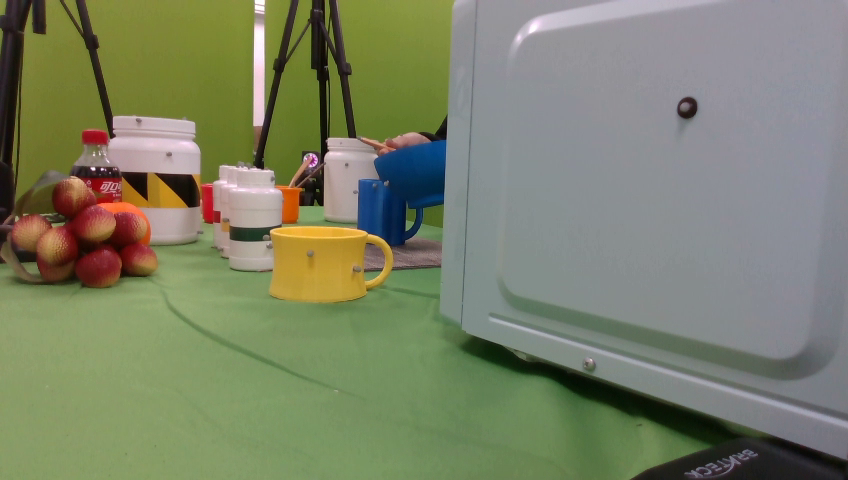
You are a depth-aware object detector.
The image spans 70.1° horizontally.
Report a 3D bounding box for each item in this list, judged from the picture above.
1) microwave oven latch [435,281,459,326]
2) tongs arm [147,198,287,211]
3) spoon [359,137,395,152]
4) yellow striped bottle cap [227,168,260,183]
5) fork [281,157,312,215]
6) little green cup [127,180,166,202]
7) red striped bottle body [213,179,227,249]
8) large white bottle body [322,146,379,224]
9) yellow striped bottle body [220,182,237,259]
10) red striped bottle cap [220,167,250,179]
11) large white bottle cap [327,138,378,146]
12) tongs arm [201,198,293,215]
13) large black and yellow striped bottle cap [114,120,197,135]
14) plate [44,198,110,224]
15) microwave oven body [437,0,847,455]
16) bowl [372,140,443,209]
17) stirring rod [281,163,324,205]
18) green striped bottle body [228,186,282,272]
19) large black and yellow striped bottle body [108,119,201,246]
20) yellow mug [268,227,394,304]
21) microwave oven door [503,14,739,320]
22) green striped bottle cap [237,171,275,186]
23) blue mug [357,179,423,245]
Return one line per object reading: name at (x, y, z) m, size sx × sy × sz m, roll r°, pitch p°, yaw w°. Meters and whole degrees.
microwave oven latch at (0.044, 0.045, 0.470) m, size 0.079 × 0.029 × 0.030 m, roll -3°, pitch 8°, yaw -40°
tongs arm at (-0.504, -0.091, 1.513) m, size 0.028 × 0.028 × 0.389 m, roll 0°, pitch 4°, yaw 37°
spoon at (-0.037, -0.126, 0.926) m, size 0.042 × 0.021 × 0.193 m, roll -2°, pitch 29°, yaw -47°
yellow striped bottle cap at (-0.243, -0.087, 0.818) m, size 0.044 × 0.018 × 0.044 m, roll 3°, pitch 6°, yaw 0°
fork at (-0.289, -0.116, 1.321) m, size 0.028 × 0.019 × 0.207 m, roll 6°, pitch 51°, yaw 19°
little green cup at (-0.485, -0.087, 1.062) m, size 0.061 × 0.038 × 0.061 m, roll 0°, pitch 6°, yaw 0°
red striped bottle body at (-0.284, -0.048, 0.909) m, size 0.063 × 0.119 × 0.063 m, roll 3°, pitch 10°, yaw 0°
large white bottle body at (-0.163, -0.135, 1.368) m, size 0.131 × 0.184 × 0.130 m, roll 2°, pitch 7°, yaw 0°
yellow striped bottle body at (-0.246, -0.036, 0.825) m, size 0.063 × 0.120 × 0.063 m, roll 3°, pitch 8°, yaw 0°
red striped bottle cap at (-0.281, -0.100, 0.901) m, size 0.044 × 0.017 × 0.044 m, roll -1°, pitch 5°, yaw 0°
large white bottle cap at (-0.160, -0.218, 1.357) m, size 0.115 × 0.018 × 0.115 m, roll 2°, pitch 8°, yaw 0°
tongs arm at (-0.423, -0.084, 1.472) m, size 0.050 × 0.026 × 0.386 m, roll 2°, pitch 6°, yaw 21°
large black and yellow striped bottle cap at (-0.407, -0.171, 0.920) m, size 0.115 × 0.019 × 0.115 m, roll 2°, pitch 9°, yaw 0°
plate at (-0.617, -0.056, 1.179) m, size 0.209 × 0.038 × 0.209 m, roll 3°, pitch 7°, yaw 0°
microwave oven body at (0.279, -0.040, 0.464) m, size 0.444 × 0.260 × 0.324 m, roll -3°, pitch 9°, yaw -41°
bowl at (0.006, -0.090, 0.878) m, size 0.151 × 0.076 × 0.151 m, roll -11°, pitch -2°, yaw 0°
stirring rod at (-0.278, -0.105, 1.293) m, size 0.176 × 0.006 × 0.014 m, roll -47°, pitch 24°, yaw -18°
green striped bottle body at (-0.208, -0.023, 0.745) m, size 0.063 × 0.119 × 0.063 m, roll 2°, pitch 7°, yaw 0°
large black and yellow striped bottle body at (-0.412, -0.088, 0.930) m, size 0.131 × 0.184 × 0.130 m, roll 3°, pitch 7°, yaw 0°
yellow mug at (-0.094, 0.023, 0.629) m, size 0.131 × 0.064 × 0.099 m, roll 0°, pitch 7°, yaw -22°
microwave oven door at (0.218, -0.065, 0.600) m, size 0.358 × 0.243 × 0.039 m, roll -4°, pitch 10°, yaw -41°
green striped bottle cap at (-0.205, -0.075, 0.738) m, size 0.044 × 0.020 × 0.044 m, roll 1°, pitch 8°, yaw 0°
blue mug at (-0.056, -0.047, 1.006) m, size 0.116 × 0.106 × 0.082 m, roll 5°, pitch 8°, yaw 21°
